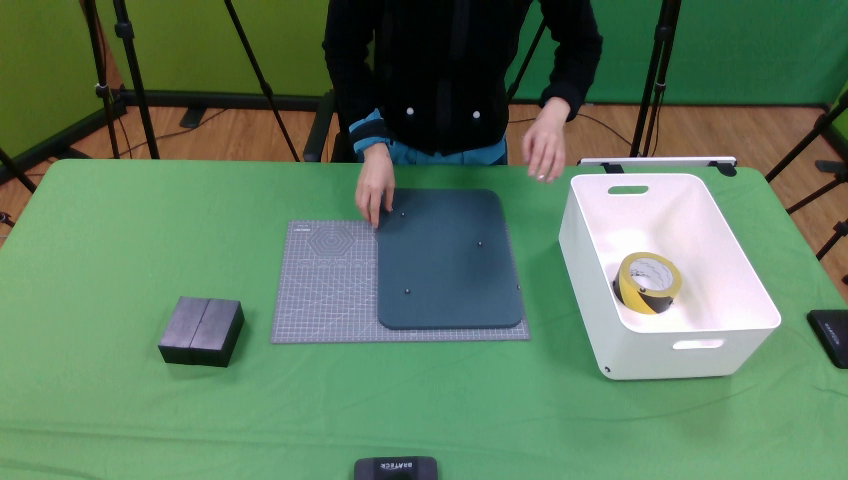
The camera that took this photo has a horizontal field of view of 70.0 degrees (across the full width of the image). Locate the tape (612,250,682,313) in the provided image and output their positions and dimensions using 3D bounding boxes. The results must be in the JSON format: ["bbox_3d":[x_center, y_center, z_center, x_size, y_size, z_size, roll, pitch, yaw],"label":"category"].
[{"bbox_3d":[0.412,0.076,1.123,0.117,0.053,0.116,4,48,-4],"label":"tape"}]

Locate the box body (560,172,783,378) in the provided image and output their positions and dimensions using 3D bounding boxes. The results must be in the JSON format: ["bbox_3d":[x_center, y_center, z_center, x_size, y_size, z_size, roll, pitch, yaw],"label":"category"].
[{"bbox_3d":[0.405,0.057,1.074,0.254,0.161,0.361,-2,46,-5],"label":"box body"}]

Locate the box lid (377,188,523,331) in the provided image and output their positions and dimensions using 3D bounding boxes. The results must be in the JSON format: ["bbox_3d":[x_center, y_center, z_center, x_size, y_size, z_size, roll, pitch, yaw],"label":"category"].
[{"bbox_3d":[0.040,0.024,1.181,0.263,0.015,0.369,0,46,-4],"label":"box lid"}]
